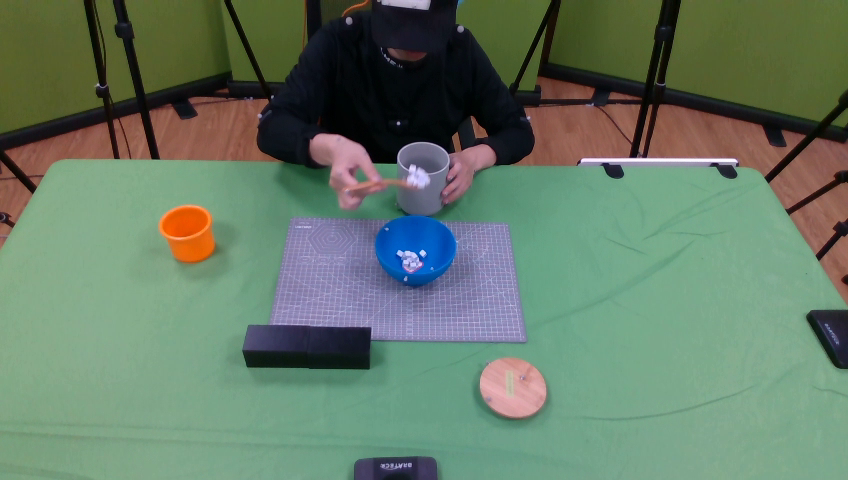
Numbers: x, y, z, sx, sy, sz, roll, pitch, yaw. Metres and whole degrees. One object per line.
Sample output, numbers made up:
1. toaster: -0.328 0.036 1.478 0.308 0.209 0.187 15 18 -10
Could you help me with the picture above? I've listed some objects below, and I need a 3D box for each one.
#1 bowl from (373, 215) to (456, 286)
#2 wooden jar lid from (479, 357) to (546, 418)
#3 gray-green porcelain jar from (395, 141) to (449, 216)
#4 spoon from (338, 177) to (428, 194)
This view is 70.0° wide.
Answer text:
1. bowl: -0.019 0.032 1.123 0.151 0.077 0.150 2 46 -2
2. wooden jar lid: 0.142 0.240 0.979 0.108 0.021 0.107 1 46 -1
3. gray-green porcelain jar: -0.007 -0.120 1.241 0.106 0.127 0.105 2 46 -2
4. spoon: -0.068 -0.094 1.051 0.194 0.022 0.041 -7 38 -44
